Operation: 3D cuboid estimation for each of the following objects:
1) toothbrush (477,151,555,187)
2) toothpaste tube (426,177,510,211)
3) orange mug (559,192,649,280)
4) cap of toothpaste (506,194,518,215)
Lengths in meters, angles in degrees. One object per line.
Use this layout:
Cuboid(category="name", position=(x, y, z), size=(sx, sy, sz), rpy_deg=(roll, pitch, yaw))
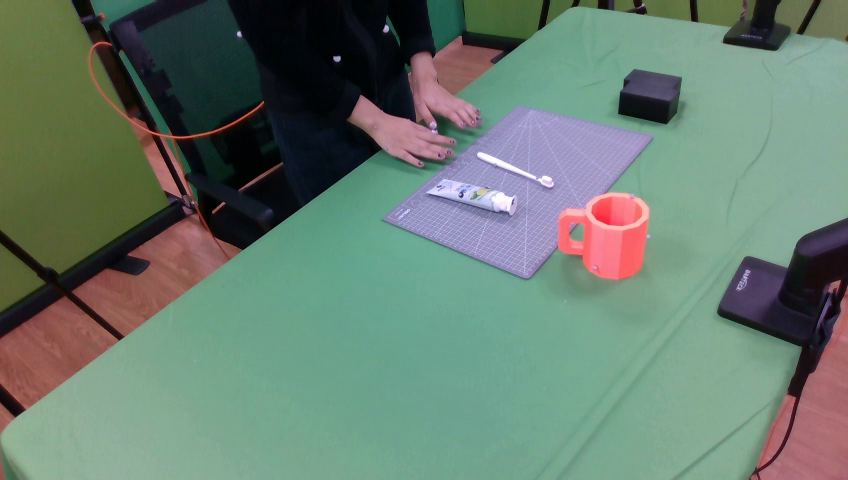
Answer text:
Cuboid(category="toothbrush", position=(0.164, -0.133, 1.107), size=(0.180, 0.017, 0.014), rpy_deg=(30, 69, 39))
Cuboid(category="toothpaste tube", position=(0.083, -0.081, 1.054), size=(0.164, 0.034, 0.055), rpy_deg=(18, 40, 34))
Cuboid(category="orange mug", position=(0.261, -0.008, 0.884), size=(0.126, 0.101, 0.083), rpy_deg=(9, 43, 14))
Cuboid(category="cap of toothpaste", position=(0.146, -0.060, 1.007), size=(0.011, 0.037, 0.037), rpy_deg=(14, 46, 22))
